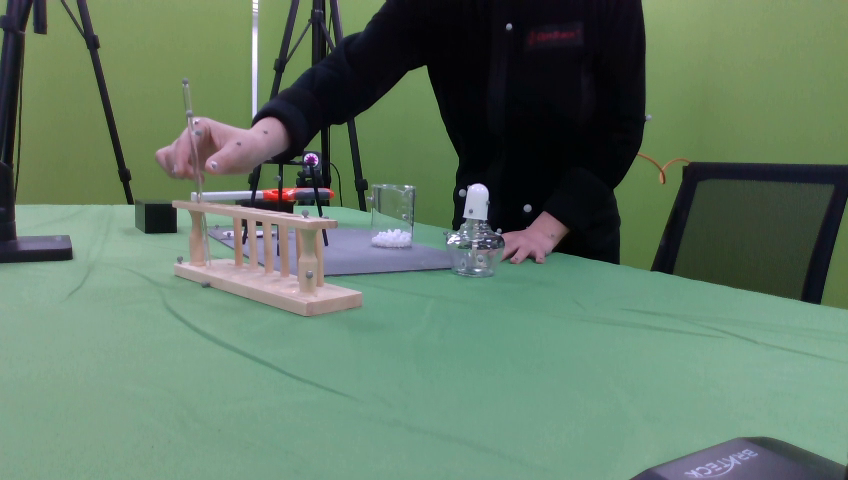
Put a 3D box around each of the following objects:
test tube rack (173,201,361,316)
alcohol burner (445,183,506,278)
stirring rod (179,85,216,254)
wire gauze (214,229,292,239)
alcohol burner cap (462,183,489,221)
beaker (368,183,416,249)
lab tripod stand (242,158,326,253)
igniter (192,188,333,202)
[{"bbox_3d":[-0.169,0.010,0.621,0.241,0.085,0.067,9,9,41],"label":"test tube rack"},{"bbox_3d":[0.065,-0.013,0.770,0.078,0.119,0.078,0,7,0],"label":"alcohol burner"},{"bbox_3d":[-0.237,-0.073,0.633,0.006,0.176,0.014,0,10,41],"label":"stirring rod"},{"bbox_3d":[-0.298,-0.013,1.039,0.122,0.011,0.124,-2,6,-27],"label":"wire gauze"},{"bbox_3d":[0.067,-0.048,0.765,0.034,0.048,0.034,5,5,0],"label":"alcohol burner cap"},{"bbox_3d":[-0.051,-0.039,0.971,0.074,0.100,0.083,-1,9,-25],"label":"beaker"},{"bbox_3d":[-0.207,-0.054,0.894,0.148,0.131,0.148,3,5,0],"label":"lab tripod stand"},{"bbox_3d":[-0.316,-0.090,1.212,0.278,0.025,0.057,-5,12,-32],"label":"igniter"}]
